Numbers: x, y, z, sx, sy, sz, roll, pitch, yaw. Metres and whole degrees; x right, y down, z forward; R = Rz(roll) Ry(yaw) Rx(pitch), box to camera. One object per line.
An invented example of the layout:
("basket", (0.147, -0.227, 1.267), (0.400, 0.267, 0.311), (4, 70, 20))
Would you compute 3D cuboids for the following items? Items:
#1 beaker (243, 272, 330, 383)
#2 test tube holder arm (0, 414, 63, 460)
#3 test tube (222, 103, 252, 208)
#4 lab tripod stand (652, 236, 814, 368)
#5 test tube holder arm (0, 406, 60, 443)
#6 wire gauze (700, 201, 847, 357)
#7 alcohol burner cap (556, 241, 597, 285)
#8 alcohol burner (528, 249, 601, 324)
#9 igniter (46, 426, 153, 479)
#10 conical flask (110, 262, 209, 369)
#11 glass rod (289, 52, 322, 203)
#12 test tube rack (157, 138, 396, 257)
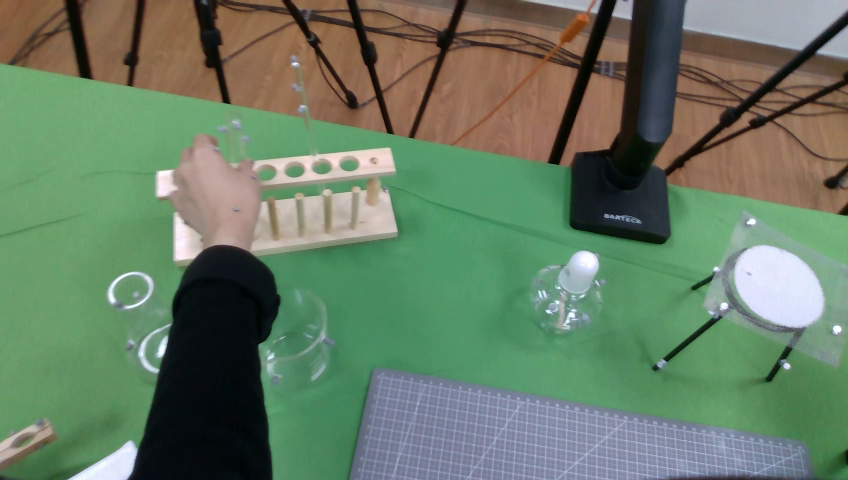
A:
("beaker", (-0.129, 0.091, 0.578), (0.074, 0.101, 0.083), (23, 59, 9))
("test tube holder arm", (-0.344, 0.171, 0.495), (0.088, 0.015, 0.010), (-28, 63, -22))
("test tube", (-0.192, -0.082, 0.627), (0.017, 0.151, 0.017), (5, 55, -7))
("lab tripod stand", (0.319, 0.069, 0.619), (0.148, 0.132, 0.147), (4, 57, -5))
("test tube holder arm", (-0.384, 0.188, 0.480), (0.178, 0.015, 0.013), (-29, 63, -22))
("wire gauze", (0.332, 0.033, 0.562), (0.121, 0.011, 0.124), (29, 61, 10))
("alcohol burner cap", (0.154, 0.020, 0.600), (0.034, 0.048, 0.033), (3, 57, -5))
("alcohol burner", (0.151, 0.040, 0.631), (0.078, 0.120, 0.077), (4, 57, -5))
("igniter", (-0.345, 0.232, 0.453), (0.277, 0.025, 0.057), (-30, 68, -25))
("conical flask", (-0.252, 0.066, 0.565), (0.075, 0.123, 0.074), (3, 58, -4))
("glass rod", (-0.120, -0.107, 0.629), (0.008, 0.201, 0.008), (0, 51, 0))
("test tube rack", (-0.154, -0.047, 0.667), (0.243, 0.086, 0.066), (-8, 59, -11))
